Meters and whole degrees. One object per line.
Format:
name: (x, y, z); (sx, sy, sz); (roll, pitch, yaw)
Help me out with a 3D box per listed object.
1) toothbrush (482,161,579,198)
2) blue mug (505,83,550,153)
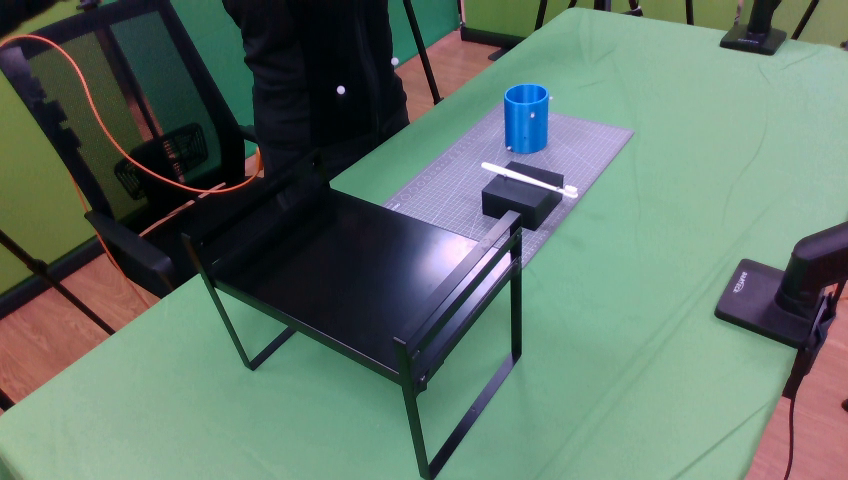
toothbrush: (0.172, -0.103, 0.996); (0.180, 0.017, 0.014); (23, 57, 31)
blue mug: (0.204, -0.242, 1.160); (0.082, 0.106, 0.116); (14, 45, 24)
